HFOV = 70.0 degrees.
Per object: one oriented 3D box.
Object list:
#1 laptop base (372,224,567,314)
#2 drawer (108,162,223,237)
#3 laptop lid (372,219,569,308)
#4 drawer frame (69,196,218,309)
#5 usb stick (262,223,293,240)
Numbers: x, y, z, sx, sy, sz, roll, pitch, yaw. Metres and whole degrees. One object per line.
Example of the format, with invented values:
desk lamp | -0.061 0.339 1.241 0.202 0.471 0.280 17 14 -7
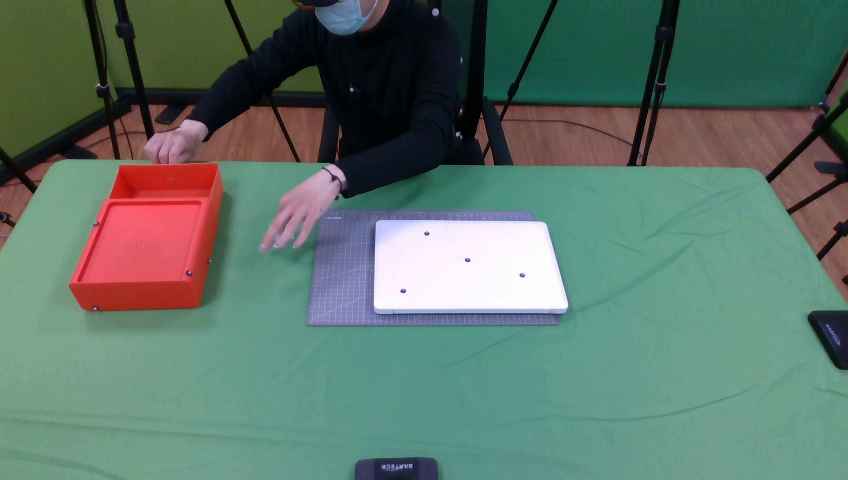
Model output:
laptop base | 0.080 0.049 1.158 0.355 0.023 0.234 0 43 -4
drawer | -0.507 -0.059 1.175 0.195 0.073 0.210 -1 47 -7
laptop lid | 0.081 0.039 1.152 0.357 0.013 0.240 2 44 -3
drawer frame | -0.496 0.018 1.101 0.202 0.083 0.212 -1 47 -6
usb stick | -0.281 -0.016 1.156 0.059 0.027 0.021 -7 52 -10
